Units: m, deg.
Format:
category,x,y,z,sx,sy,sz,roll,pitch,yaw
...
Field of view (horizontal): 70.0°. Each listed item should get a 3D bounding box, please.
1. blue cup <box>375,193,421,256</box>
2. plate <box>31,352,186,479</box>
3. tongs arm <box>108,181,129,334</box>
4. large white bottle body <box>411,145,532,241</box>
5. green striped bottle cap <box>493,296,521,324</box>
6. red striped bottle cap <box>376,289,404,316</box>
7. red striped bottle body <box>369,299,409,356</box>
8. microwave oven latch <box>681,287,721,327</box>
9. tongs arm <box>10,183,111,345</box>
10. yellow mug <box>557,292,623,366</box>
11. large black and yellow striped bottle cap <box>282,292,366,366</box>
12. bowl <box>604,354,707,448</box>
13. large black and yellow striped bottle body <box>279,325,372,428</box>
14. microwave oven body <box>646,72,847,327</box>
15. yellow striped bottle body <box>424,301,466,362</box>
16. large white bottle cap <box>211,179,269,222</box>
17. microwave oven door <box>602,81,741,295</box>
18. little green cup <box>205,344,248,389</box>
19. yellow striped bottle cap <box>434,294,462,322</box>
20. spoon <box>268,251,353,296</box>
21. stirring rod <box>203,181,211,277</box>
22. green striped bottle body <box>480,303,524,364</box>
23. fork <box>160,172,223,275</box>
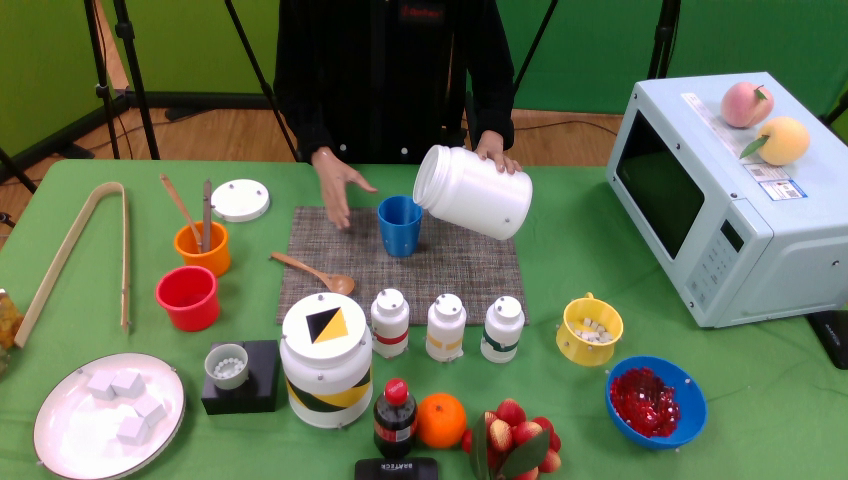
category,x,y,z,sx,sy,sz,roll,pitch,yaw
blue cup,-0.049,-0.023,1.156,0.093,0.101,0.092,2,48,-2
plate,-0.459,0.262,0.898,0.209,0.038,0.208,2,46,-2
tongs arm,-0.571,0.019,1.123,0.051,0.026,0.382,-10,47,-12
large white bottle body,0.082,-0.086,1.071,0.185,0.131,0.130,19,43,-17
green striped bottle cap,0.133,0.111,0.962,0.044,0.020,0.044,2,47,-2
red striped bottle cap,-0.055,0.098,0.958,0.044,0.018,0.044,0,47,0
red striped bottle body,-0.059,0.135,0.997,0.063,0.120,0.062,5,48,-6
microwave oven latch,0.494,0.119,1.087,0.030,0.029,0.078,-5,46,-9
tongs arm,-0.658,0.027,1.109,0.028,0.028,0.385,-2,45,1
yellow mug,0.285,0.145,1.051,0.100,0.064,0.130,7,46,4
large black and yellow striped bottle cap,-0.138,0.121,0.841,0.115,0.019,0.114,3,47,-3
bowl,0.346,0.261,0.937,0.151,0.077,0.150,2,46,-2
large black and yellow striped bottle body,-0.143,0.181,0.900,0.131,0.185,0.130,2,46,-2
microwave oven body,0.607,-0.089,1.164,0.326,0.261,0.438,-7,46,-10
yellow striped bottle body,0.035,0.143,0.995,0.063,0.121,0.062,3,46,-3
large white bottle cap,-0.380,-0.082,1.250,0.115,0.018,0.114,2,47,-2
microwave oven door,0.456,-0.107,1.162,0.039,0.245,0.353,-7,47,-11
little green cup,-0.294,0.191,0.909,0.061,0.039,0.061,1,47,-1
yellow striped bottle cap,0.038,0.107,0.958,0.044,0.019,0.044,2,45,-2
spoon,-0.212,0.057,1.121,0.193,0.022,0.041,24,74,18
stirring rod,-0.396,-0.021,1.107,0.014,0.006,0.176,-1,89,-1
green striped bottle body,0.129,0.147,1.000,0.063,0.120,0.063,2,46,-2
fork,-0.425,-0.030,1.103,0.028,0.018,0.207,-28,98,-12
